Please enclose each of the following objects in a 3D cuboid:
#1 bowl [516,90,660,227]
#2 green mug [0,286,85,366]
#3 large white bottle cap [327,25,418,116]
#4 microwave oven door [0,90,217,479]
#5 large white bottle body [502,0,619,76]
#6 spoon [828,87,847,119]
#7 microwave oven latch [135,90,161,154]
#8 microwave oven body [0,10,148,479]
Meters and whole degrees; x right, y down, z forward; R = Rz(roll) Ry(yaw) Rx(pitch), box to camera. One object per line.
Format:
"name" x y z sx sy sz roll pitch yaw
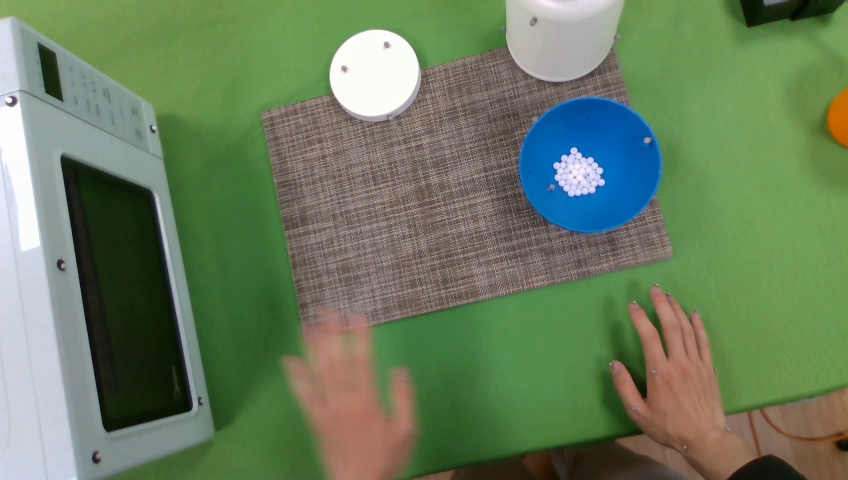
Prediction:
"bowl" 0.179 -0.083 0.686 0.151 0.077 0.151 -1 83 8
"green mug" -0.443 0.088 0.674 0.125 0.105 0.092 -28 84 -3
"large white bottle cap" -0.065 -0.214 0.762 0.115 0.018 0.114 -1 83 7
"microwave oven door" -0.321 0.051 0.636 0.039 0.245 0.354 -15 81 6
"large white bottle body" 0.148 -0.277 0.658 0.130 0.185 0.130 -1 79 8
"spoon" 0.522 -0.143 0.618 0.022 0.192 0.041 30 81 -34
"microwave oven latch" -0.359 -0.146 0.766 0.030 0.029 0.079 -15 82 5
"microwave oven body" -0.472 0.049 0.660 0.326 0.261 0.440 -15 82 5
